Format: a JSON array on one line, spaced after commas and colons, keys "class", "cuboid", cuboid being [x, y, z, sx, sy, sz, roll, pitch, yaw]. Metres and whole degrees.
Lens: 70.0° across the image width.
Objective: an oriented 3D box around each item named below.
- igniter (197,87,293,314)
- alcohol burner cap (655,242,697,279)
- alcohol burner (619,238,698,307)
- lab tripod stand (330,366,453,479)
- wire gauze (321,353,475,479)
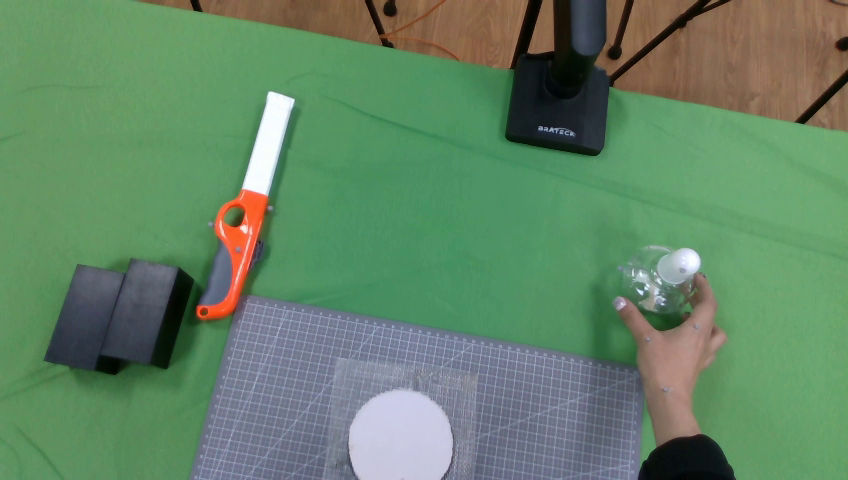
[{"class": "igniter", "cuboid": [-0.198, -0.048, 0.684, 0.057, 0.025, 0.275, 16, 72, -15]}, {"class": "alcohol burner cap", "cuboid": [0.258, 0.019, 0.612, 0.034, 0.048, 0.033, 0, 76, 1]}, {"class": "alcohol burner", "cuboid": [0.255, 0.030, 0.647, 0.078, 0.119, 0.077, 1, 70, -3]}, {"class": "lab tripod stand", "cuboid": [-0.024, 0.183, 0.567, 0.148, 0.132, 0.147, 1, 71, -2]}, {"class": "wire gauze", "cuboid": [-0.021, 0.159, 0.504, 0.125, 0.011, 0.120, 6, 71, -2]}]
